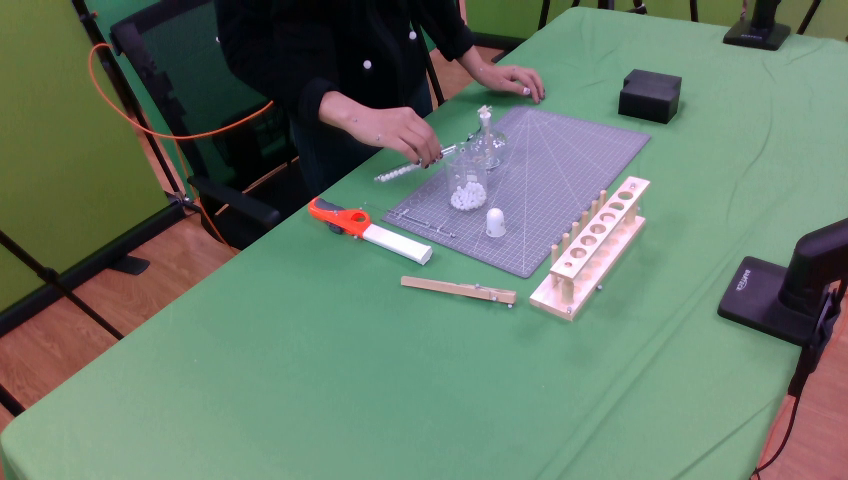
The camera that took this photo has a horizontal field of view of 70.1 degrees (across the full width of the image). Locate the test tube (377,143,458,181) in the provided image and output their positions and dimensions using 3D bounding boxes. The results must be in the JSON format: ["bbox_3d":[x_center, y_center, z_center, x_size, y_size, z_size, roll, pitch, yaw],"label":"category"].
[{"bbox_3d":[-0.009,-0.122,0.946,0.151,0.017,0.017,-26,43,-28],"label":"test tube"}]

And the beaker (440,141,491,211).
[{"bbox_3d":[0.074,-0.106,1.028,0.084,0.101,0.073,-1,41,8],"label":"beaker"}]

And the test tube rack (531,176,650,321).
[{"bbox_3d":[0.246,0.002,0.884,0.066,0.085,0.243,22,49,32],"label":"test tube rack"}]

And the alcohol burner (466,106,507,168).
[{"bbox_3d":[0.114,-0.193,1.112,0.078,0.119,0.077,-4,41,4],"label":"alcohol burner"}]

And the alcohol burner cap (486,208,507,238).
[{"bbox_3d":[0.116,-0.030,0.975,0.034,0.048,0.033,-6,40,5],"label":"alcohol burner cap"}]

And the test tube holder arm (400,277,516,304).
[{"bbox_3d":[0.047,0.073,0.887,0.177,0.015,0.013,7,10,19],"label":"test tube holder arm"}]

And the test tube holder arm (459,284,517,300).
[{"bbox_3d":[0.091,0.077,0.877,0.087,0.015,0.010,7,10,20],"label":"test tube holder arm"}]

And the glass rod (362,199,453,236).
[{"bbox_3d":[-0.031,-0.041,1.041,0.198,0.008,0.008,22,50,31],"label":"glass rod"}]

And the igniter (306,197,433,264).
[{"bbox_3d":[-0.102,-0.020,1.019,0.274,0.025,0.057,22,59,32],"label":"igniter"}]
